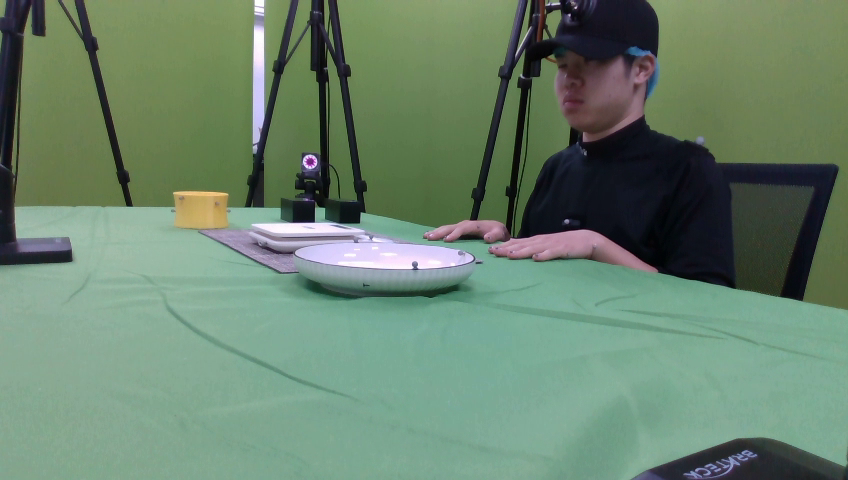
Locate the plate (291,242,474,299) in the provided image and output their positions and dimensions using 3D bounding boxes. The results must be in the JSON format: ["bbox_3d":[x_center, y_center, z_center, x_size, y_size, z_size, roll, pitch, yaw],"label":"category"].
[{"bbox_3d":[-0.047,0.033,0.693,0.209,0.038,0.209,3,7,0],"label":"plate"}]

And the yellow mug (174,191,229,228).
[{"bbox_3d":[-0.427,-0.062,1.189,0.100,0.064,0.131,5,7,13],"label":"yellow mug"}]

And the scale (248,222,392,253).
[{"bbox_3d":[-0.162,-0.006,0.954,0.202,0.031,0.148,-1,9,-32],"label":"scale"}]
